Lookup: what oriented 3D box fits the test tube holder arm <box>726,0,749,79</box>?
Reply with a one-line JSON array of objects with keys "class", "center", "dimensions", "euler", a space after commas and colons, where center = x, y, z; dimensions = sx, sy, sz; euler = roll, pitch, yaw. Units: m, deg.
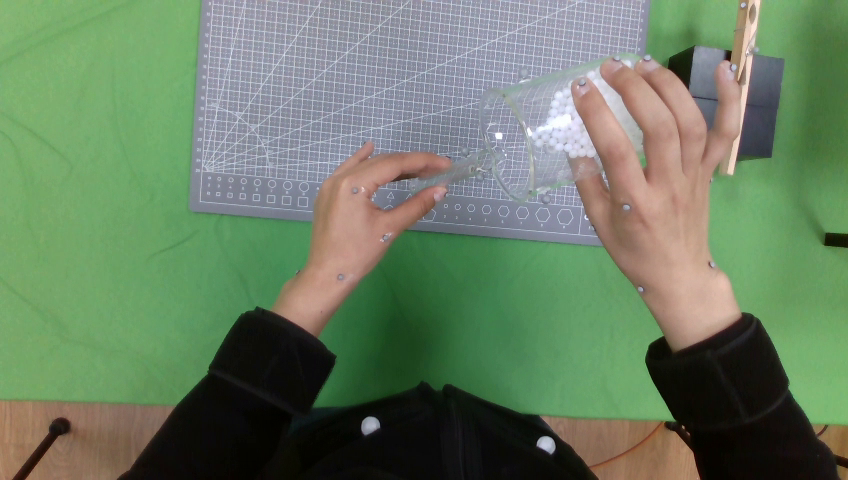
[{"class": "test tube holder arm", "center": [0.311, -0.203, 0.598], "dimensions": [0.010, 0.015, 0.088], "euler": [3, 95, -16]}]

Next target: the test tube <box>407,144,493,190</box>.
[{"class": "test tube", "center": [0.016, -0.056, 0.488], "dimensions": [0.017, 0.149, 0.017], "euler": [1, 87, -21]}]

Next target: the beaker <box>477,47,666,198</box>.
[{"class": "beaker", "center": [0.094, -0.077, 0.391], "dimensions": [0.100, 0.084, 0.074], "euler": [-19, 91, -12]}]

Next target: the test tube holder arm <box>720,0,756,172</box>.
[{"class": "test tube holder arm", "center": [0.313, -0.158, 0.603], "dimensions": [0.013, 0.015, 0.178], "euler": [3, 95, -16]}]
